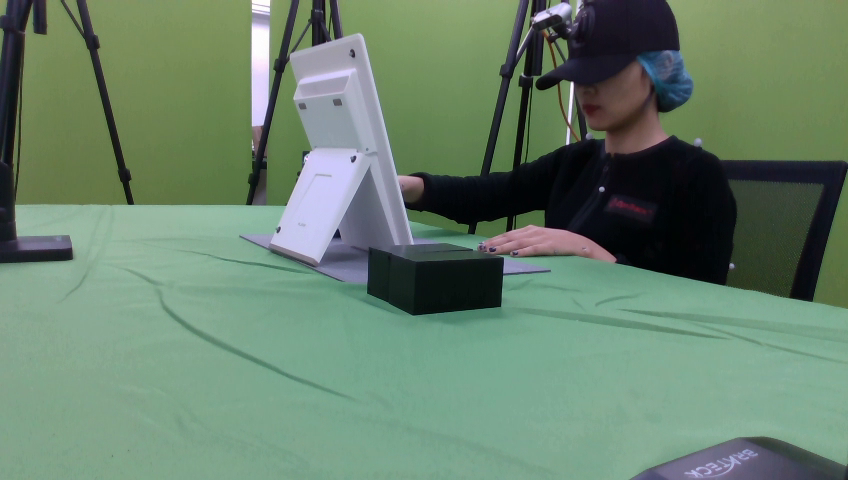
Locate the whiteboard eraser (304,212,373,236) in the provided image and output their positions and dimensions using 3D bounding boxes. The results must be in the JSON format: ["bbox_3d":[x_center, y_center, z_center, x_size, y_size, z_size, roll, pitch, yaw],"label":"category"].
[{"bbox_3d":[-0.152,-0.029,1.077,0.113,0.042,0.055,-2,8,-30],"label":"whiteboard eraser"}]

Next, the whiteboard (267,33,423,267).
[{"bbox_3d":[-0.153,-0.097,0.819,0.144,0.305,0.216,-25,21,-29],"label":"whiteboard"}]
